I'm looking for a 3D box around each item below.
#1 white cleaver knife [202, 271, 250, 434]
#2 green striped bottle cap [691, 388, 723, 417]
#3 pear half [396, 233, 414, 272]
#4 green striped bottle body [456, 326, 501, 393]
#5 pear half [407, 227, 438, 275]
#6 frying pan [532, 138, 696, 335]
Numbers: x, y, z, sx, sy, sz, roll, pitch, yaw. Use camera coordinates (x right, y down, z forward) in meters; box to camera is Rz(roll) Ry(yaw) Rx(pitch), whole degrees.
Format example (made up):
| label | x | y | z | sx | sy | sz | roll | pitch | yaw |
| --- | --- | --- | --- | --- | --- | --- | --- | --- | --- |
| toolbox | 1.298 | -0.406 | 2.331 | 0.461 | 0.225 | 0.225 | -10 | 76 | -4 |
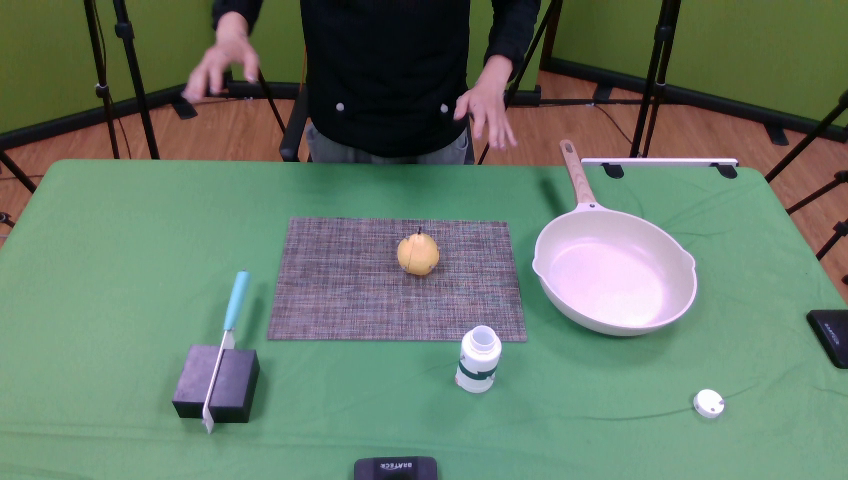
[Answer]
| label | x | y | z | sx | sy | sz | roll | pitch | yaw |
| --- | --- | --- | --- | --- | --- | --- | --- | --- | --- |
| white cleaver knife | -0.322 | 0.168 | 0.980 | 0.021 | 0.066 | 0.284 | 7 | 48 | -6 |
| green striped bottle cap | 0.460 | 0.263 | 0.984 | 0.044 | 0.020 | 0.044 | 3 | 46 | -3 |
| pear half | -0.037 | 0.018 | 1.125 | 0.031 | 0.088 | 0.070 | 5 | 50 | -1 |
| green striped bottle body | 0.086 | 0.185 | 0.959 | 0.063 | 0.120 | 0.063 | 2 | 46 | -2 |
| pear half | -0.001 | 0.016 | 1.117 | 0.056 | 0.110 | 0.076 | 4 | 51 | 0 |
| frying pan | 0.336 | -0.024 | 1.190 | 0.307 | 0.103 | 0.484 | -2 | 55 | -7 |
